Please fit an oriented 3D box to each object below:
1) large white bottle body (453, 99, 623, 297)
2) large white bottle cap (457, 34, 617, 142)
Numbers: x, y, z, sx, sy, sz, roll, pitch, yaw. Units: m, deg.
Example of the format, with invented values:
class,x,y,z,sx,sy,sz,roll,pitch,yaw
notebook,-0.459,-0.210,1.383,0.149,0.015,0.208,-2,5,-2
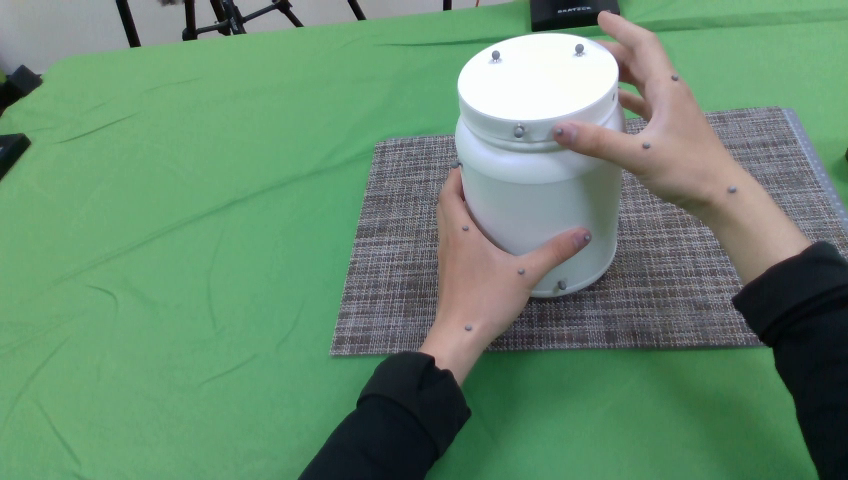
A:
class,x,y,z,sx,sy,sz,roll,pitch,yaw
large white bottle body,0.095,-0.055,0.503,0.130,0.186,0.129,-7,46,7
large white bottle cap,0.081,-0.114,0.441,0.115,0.018,0.113,-7,46,7
